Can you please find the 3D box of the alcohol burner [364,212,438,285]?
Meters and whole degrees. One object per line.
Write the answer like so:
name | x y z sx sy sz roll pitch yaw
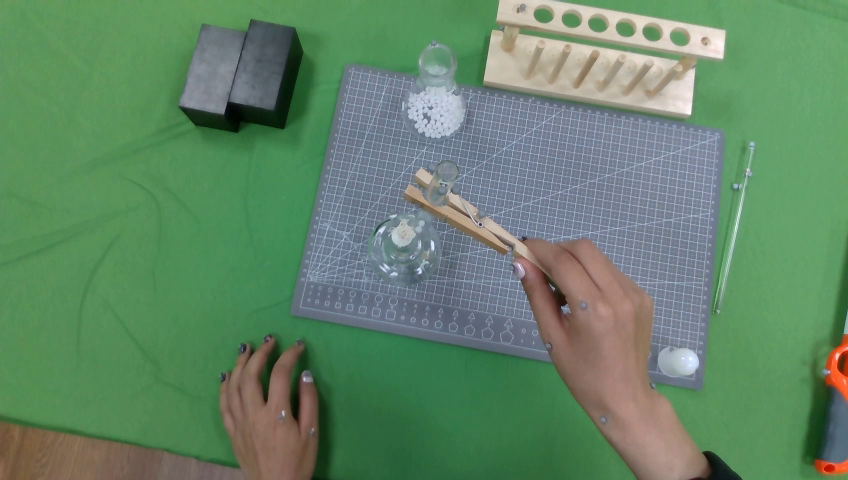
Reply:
alcohol burner | -0.024 0.005 0.615 0.078 0.119 0.077 0 77 1

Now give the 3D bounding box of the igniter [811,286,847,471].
igniter | 0.462 0.114 0.653 0.057 0.025 0.275 20 79 -8

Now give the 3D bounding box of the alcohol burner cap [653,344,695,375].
alcohol burner cap | 0.265 0.125 0.635 0.034 0.048 0.033 0 77 -1

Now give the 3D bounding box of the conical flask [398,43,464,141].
conical flask | 0.009 -0.160 0.644 0.075 0.122 0.075 0 78 -1

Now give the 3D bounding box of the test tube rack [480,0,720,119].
test tube rack | 0.190 -0.203 0.680 0.242 0.085 0.066 10 78 0

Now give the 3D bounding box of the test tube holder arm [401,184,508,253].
test tube holder arm | 0.023 -0.015 0.444 0.088 0.015 0.010 28 79 0

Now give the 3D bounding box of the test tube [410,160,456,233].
test tube | 0.004 -0.028 0.458 0.017 0.150 0.017 2 77 -7

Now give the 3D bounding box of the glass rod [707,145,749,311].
glass rod | 0.345 -0.015 0.686 0.008 0.008 0.199 17 81 2

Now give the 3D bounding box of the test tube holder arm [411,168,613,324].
test tube holder arm | 0.064 0.005 0.444 0.178 0.015 0.013 36 79 1
